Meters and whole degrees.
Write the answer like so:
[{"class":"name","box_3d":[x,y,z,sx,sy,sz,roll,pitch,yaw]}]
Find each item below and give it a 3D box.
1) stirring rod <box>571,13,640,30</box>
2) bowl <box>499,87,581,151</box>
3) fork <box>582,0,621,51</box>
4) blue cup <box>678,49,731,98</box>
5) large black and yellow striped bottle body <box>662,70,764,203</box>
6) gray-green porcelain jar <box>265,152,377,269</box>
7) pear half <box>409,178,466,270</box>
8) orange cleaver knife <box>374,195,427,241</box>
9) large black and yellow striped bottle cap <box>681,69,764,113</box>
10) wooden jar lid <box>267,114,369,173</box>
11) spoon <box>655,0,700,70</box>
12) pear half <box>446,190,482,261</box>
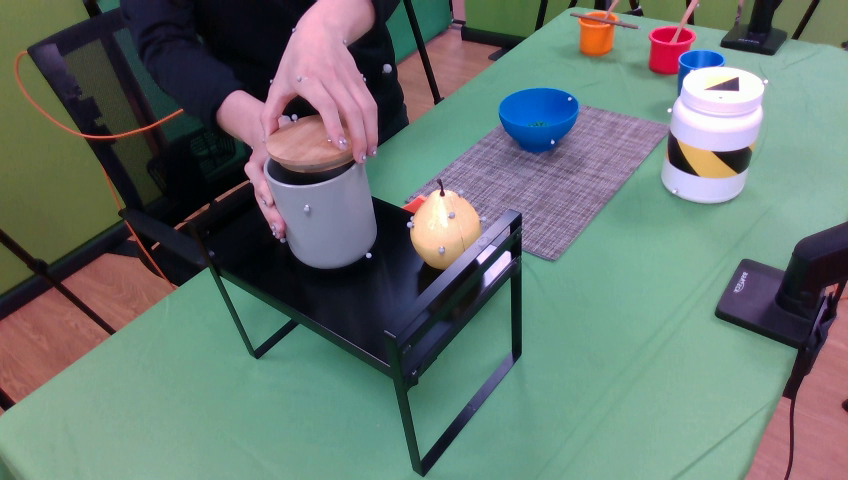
[{"class":"stirring rod","box_3d":[0.418,-0.508,1.404,0.174,0.006,0.014,28,55,35]},{"class":"bowl","box_3d":[0.221,-0.223,1.156,0.151,0.077,0.150,-4,40,4]},{"class":"fork","box_3d":[0.446,-0.538,1.438,0.207,0.019,0.028,-57,35,12]},{"class":"blue cup","box_3d":[0.543,-0.310,1.194,0.092,0.101,0.092,-6,41,6]},{"class":"large black and yellow striped bottle body","box_3d":[0.464,-0.166,0.976,0.131,0.185,0.130,-5,41,5]},{"class":"gray-green porcelain jar","box_3d":[-0.112,-0.039,0.686,0.106,0.127,0.105,-4,40,4]},{"class":"pear half","box_3d":[0.011,-0.018,0.654,0.056,0.110,0.076,-16,36,-9]},{"class":"orange cleaver knife","box_3d":[-0.037,-0.029,0.973,0.210,0.077,0.012,-8,33,50]},{"class":"large black and yellow striped bottle cap","box_3d":[0.453,-0.229,0.921,0.115,0.019,0.114,-4,39,4]},{"class":"wooden jar lid","box_3d":[-0.111,-0.103,0.645,0.108,0.021,0.108,-5,36,4]},{"class":"spoon","box_3d":[0.568,-0.463,1.337,0.041,0.022,0.193,30,97,37]},{"class":"pear half","box_3d":[0.046,-0.020,0.665,0.031,0.088,0.070,-17,37,-9]}]
